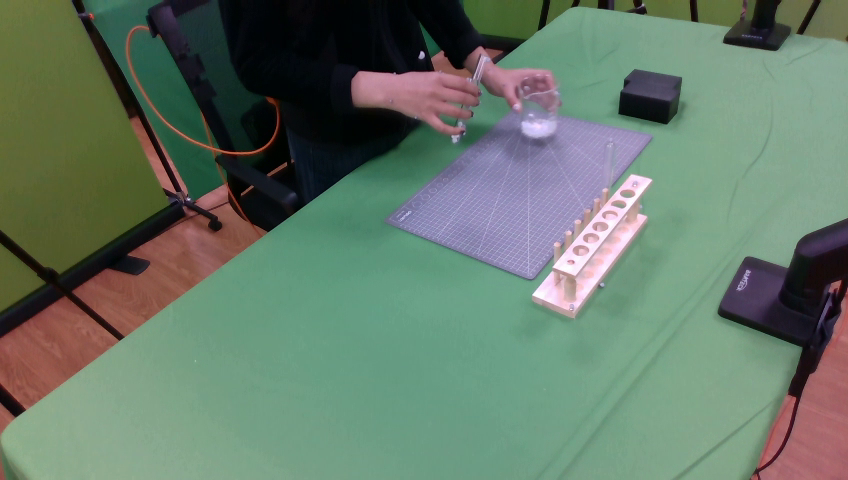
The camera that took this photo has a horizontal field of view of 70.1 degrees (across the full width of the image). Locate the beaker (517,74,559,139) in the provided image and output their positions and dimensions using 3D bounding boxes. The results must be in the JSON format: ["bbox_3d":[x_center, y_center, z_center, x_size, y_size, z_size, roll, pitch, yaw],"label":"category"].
[{"bbox_3d":[0.210,-0.244,1.122,0.073,0.101,0.084,26,52,35],"label":"beaker"}]

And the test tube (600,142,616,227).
[{"bbox_3d":[0.275,-0.081,0.908,0.017,0.151,0.017,-5,40,5],"label":"test tube"}]

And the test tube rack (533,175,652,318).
[{"bbox_3d":[0.251,-0.001,0.889,0.066,0.085,0.243,22,49,33],"label":"test tube rack"}]

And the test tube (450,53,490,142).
[{"bbox_3d":[0.073,-0.230,0.986,0.017,0.150,0.017,19,18,-6],"label":"test tube"}]
